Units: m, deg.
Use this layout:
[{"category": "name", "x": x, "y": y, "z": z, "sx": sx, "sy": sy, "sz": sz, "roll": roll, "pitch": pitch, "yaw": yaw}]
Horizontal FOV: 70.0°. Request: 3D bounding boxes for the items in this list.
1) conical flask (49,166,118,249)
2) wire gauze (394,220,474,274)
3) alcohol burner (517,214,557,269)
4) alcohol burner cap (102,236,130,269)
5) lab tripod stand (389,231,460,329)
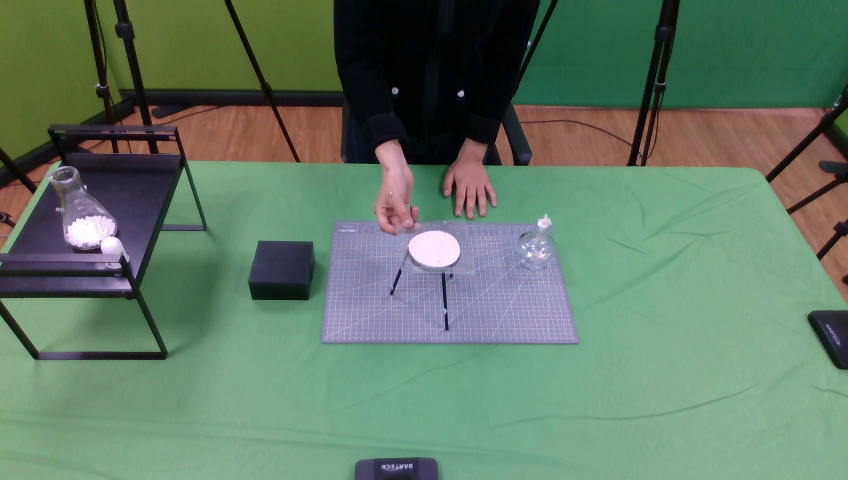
[{"category": "conical flask", "x": -0.505, "y": -0.051, "z": 0.888, "sx": 0.075, "sy": 0.122, "sz": 0.075, "roll": 2, "pitch": 46, "yaw": -2}, {"category": "wire gauze", "x": 0.015, "y": 0.010, "z": 1.012, "sx": 0.125, "sy": 0.011, "sz": 0.120, "roll": -1, "pitch": 45, "yaw": -6}, {"category": "alcohol burner", "x": 0.217, "y": -0.002, "z": 1.149, "sx": 0.078, "sy": 0.119, "sz": 0.077, "roll": 2, "pitch": 45, "yaw": -2}, {"category": "alcohol burner cap", "x": -0.452, "y": 0.016, "z": 0.883, "sx": 0.034, "sy": 0.048, "sz": 0.033, "roll": 3, "pitch": 44, "yaw": -3}, {"category": "lab tripod stand", "x": 0.015, "y": 0.063, "z": 1.058, "sx": 0.148, "sy": 0.132, "sz": 0.147, "roll": 3, "pitch": 46, "yaw": -3}]
